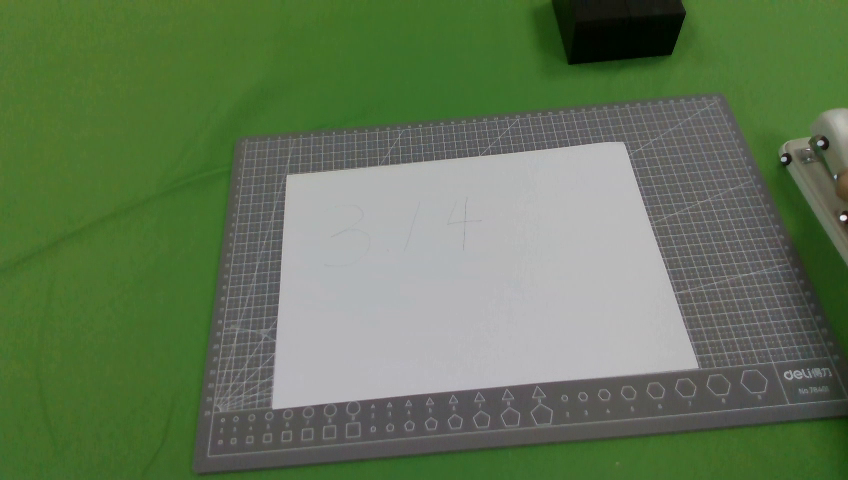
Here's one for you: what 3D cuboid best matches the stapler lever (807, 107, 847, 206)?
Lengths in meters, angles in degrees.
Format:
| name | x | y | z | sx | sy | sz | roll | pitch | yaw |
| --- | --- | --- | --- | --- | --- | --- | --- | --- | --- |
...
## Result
| name | x | y | z | sx | sy | sz | roll | pitch | yaw |
| --- | --- | --- | --- | --- | --- | --- | --- | --- | --- |
| stapler lever | 0.329 | -0.050 | 0.458 | 0.027 | 0.040 | 0.117 | -11 | 59 | 1 |

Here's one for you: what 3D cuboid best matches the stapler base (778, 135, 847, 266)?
| name | x | y | z | sx | sy | sz | roll | pitch | yaw |
| --- | --- | --- | --- | --- | --- | --- | --- | --- | --- |
| stapler base | 0.330 | -0.038 | 0.481 | 0.041 | 0.024 | 0.129 | -11 | 59 | 0 |
